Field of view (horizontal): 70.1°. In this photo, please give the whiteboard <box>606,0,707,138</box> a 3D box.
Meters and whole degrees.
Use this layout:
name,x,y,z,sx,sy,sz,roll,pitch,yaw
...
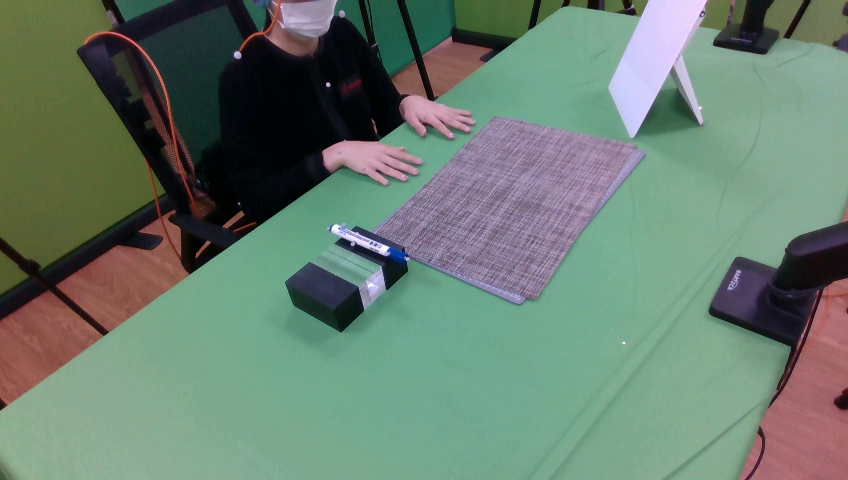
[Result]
name,x,y,z,sx,sy,sz,roll,pitch,yaw
whiteboard,0.496,-0.359,1.147,0.144,0.305,0.216,11,40,-7

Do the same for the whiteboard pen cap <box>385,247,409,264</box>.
name,x,y,z,sx,sy,sz,roll,pitch,yaw
whiteboard pen cap,-0.039,0.022,0.878,0.033,0.018,0.018,24,49,29

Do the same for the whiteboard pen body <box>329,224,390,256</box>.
name,x,y,z,sx,sy,sz,roll,pitch,yaw
whiteboard pen body,-0.088,0.003,0.909,0.139,0.017,0.017,21,48,30
